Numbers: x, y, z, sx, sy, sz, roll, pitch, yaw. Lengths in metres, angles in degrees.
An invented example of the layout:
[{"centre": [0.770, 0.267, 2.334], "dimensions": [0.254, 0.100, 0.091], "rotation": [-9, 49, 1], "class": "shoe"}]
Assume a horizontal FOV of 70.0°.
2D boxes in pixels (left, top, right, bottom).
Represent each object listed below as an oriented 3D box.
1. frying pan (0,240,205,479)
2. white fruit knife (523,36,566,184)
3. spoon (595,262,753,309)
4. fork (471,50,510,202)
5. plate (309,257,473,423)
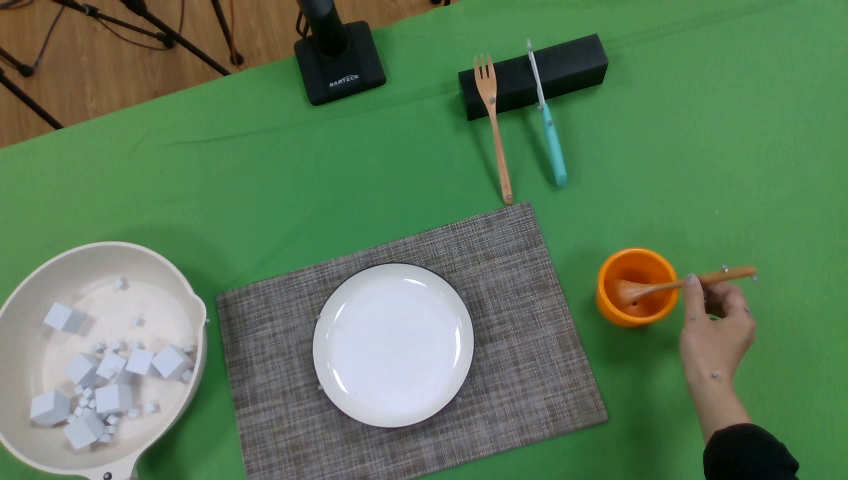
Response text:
[{"centre": [-0.384, 0.233, 0.739], "dimensions": [0.307, 0.103, 0.483], "rotation": [-20, 63, 0], "class": "frying pan"}, {"centre": [0.161, -0.178, 0.825], "dimensions": [0.016, 0.027, 0.207], "rotation": [-14, 87, 0], "class": "white fruit knife"}, {"centre": [0.281, 0.048, 0.704], "dimensions": [0.193, 0.022, 0.041], "rotation": [-18, 70, 43], "class": "spoon"}, {"centre": [0.093, -0.154, 0.825], "dimensions": [0.028, 0.018, 0.207], "rotation": [-11, 91, -5], "class": "fork"}, {"centre": [-0.041, 0.126, 0.770], "dimensions": [0.207, 0.039, 0.206], "rotation": [-2, 73, 5], "class": "plate"}]
